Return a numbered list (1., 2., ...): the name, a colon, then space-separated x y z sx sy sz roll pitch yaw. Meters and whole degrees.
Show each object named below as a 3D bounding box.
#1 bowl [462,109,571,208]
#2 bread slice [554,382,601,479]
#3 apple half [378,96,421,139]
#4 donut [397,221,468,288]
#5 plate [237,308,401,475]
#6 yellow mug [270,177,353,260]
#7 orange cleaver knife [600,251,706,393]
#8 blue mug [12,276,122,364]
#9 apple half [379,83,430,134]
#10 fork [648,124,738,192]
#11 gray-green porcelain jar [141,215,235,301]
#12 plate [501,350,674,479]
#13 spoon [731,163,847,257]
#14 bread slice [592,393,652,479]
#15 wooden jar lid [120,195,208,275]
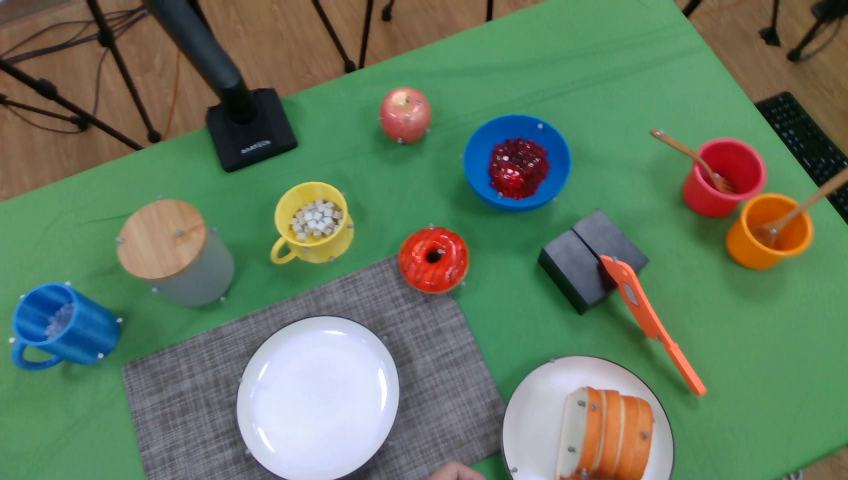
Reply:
1. bowl: 0.129 -0.103 0.873 0.151 0.077 0.150 -1 68 2
2. bread slice: 0.177 0.217 0.701 0.018 0.135 0.106 11 65 4
3. apple half: -0.043 -0.175 0.909 0.081 0.082 0.032 30 67 14
4. donut: 0.012 0.020 0.840 0.099 0.048 0.098 0 68 1
5. plate: -0.132 0.192 0.777 0.207 0.039 0.206 -1 68 2
6. yellow mug: -0.166 -0.020 0.856 0.099 0.064 0.130 41 75 16
7. orange cleaver knife: 0.291 0.103 0.779 0.012 0.077 0.211 -33 94 -8
8. blue mug: -0.473 0.115 0.788 0.082 0.106 0.116 38 74 17
9. apple half: -0.022 -0.204 0.923 0.080 0.075 0.053 29 66 18
10. fork: 0.372 -0.111 0.829 0.209 0.018 0.028 25 62 -33
11. gray-green porcelain jar: -0.319 0.020 0.812 0.106 0.127 0.105 -1 67 2
12. plate: 0.198 0.242 0.749 0.209 0.038 0.207 -1 68 2
13. spoon: 0.492 -0.044 0.797 0.022 0.194 0.041 -4 55 -49
14. bread slice: 0.227 0.229 0.695 0.019 0.132 0.104 14 71 2
15. wooden jar lid: -0.321 -0.005 0.754 0.108 0.021 0.107 -1 66 3
